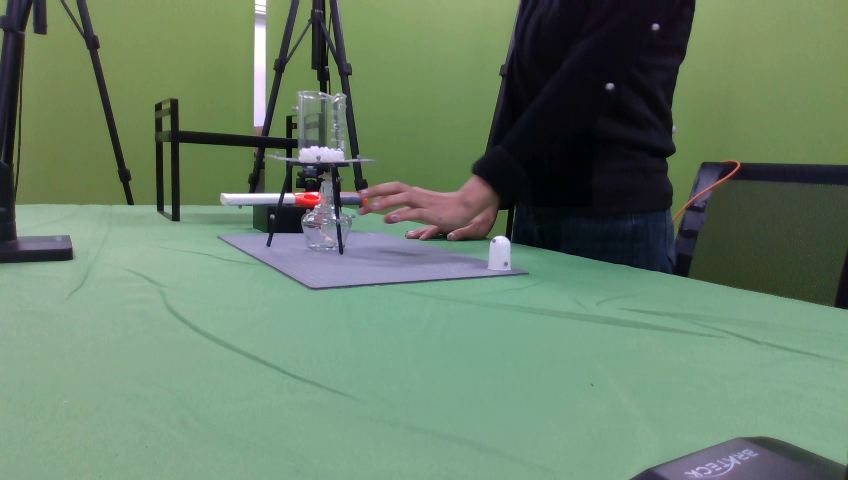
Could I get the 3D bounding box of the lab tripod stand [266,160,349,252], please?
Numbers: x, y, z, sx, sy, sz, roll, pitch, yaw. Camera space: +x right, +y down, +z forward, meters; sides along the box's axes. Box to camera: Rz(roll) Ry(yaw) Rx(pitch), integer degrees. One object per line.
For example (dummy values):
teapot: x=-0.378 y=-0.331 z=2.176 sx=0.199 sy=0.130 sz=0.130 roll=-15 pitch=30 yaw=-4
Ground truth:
lab tripod stand: x=-0.164 y=-0.054 z=0.915 sx=0.148 sy=0.131 sz=0.148 roll=2 pitch=9 yaw=0

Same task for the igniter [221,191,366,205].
igniter: x=-0.240 y=-0.078 z=1.150 sx=0.278 sy=0.025 sz=0.057 roll=-3 pitch=20 yaw=-32

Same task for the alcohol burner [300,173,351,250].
alcohol burner: x=-0.149 y=-0.044 z=0.921 sx=0.078 sy=0.119 sz=0.078 roll=4 pitch=6 yaw=0

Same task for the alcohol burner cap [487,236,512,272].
alcohol burner cap: x=0.102 y=0.018 z=0.802 sx=0.034 sy=0.048 sz=0.034 roll=1 pitch=9 yaw=0

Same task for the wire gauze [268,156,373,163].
wire gauze: x=-0.154 y=-0.119 z=0.910 sx=0.122 sy=0.011 sz=0.124 roll=-4 pitch=8 yaw=-45

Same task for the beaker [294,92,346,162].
beaker: x=-0.152 y=-0.165 z=0.896 sx=0.074 sy=0.100 sz=0.083 roll=-4 pitch=10 yaw=-33
